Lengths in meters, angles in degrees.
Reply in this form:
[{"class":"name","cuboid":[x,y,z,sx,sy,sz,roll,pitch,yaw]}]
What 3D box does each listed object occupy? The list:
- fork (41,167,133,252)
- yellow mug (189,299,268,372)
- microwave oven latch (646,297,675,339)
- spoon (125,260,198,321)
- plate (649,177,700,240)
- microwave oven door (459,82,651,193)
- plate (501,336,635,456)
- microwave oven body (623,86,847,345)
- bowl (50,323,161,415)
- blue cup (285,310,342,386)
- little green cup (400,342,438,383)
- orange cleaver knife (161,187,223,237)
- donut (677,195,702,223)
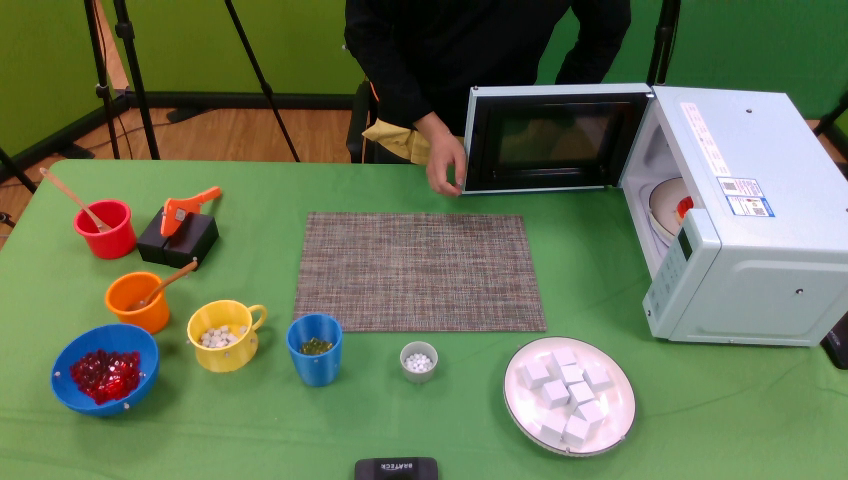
[{"class":"fork","cuboid":[-0.624,-0.056,1.121,0.208,0.018,0.028,49,52,-15]},{"class":"yellow mug","cuboid":[-0.316,0.148,1.001,0.131,0.064,0.099,-32,55,-31]},{"class":"microwave oven latch","cuboid":[0.412,0.134,1.061,0.030,0.029,0.078,4,45,1]},{"class":"spoon","cuboid":[-0.435,0.083,1.000,0.022,0.194,0.041,35,34,-34]},{"class":"plate","cuboid":[0.542,-0.044,1.181,0.209,0.038,0.208,2,46,-2]},{"class":"microwave oven door","cuboid":[0.259,-0.206,1.238,0.356,0.245,0.039,-3,46,-7]},{"class":"plate","cuboid":[0.225,0.248,0.963,0.208,0.039,0.206,2,46,-2]},{"class":"microwave oven body","cuboid":[0.567,-0.053,1.118,0.326,0.261,0.439,2,45,-1]},{"class":"bowl","cuboid":[-0.472,0.209,0.924,0.151,0.077,0.150,2,45,-2]},{"class":"blue cup","cuboid":[-0.170,0.179,0.958,0.093,0.101,0.092,1,44,-1]},{"class":"little green cup","cuboid":[-0.010,0.202,0.991,0.061,0.039,0.061,2,47,-2]},{"class":"orange cleaver knife","cuboid":[-0.448,-0.058,1.181,0.012,0.077,0.211,13,17,6]},{"class":"donut","cuboid":[0.539,-0.048,1.170,0.099,0.048,0.098,3,44,-3]}]
